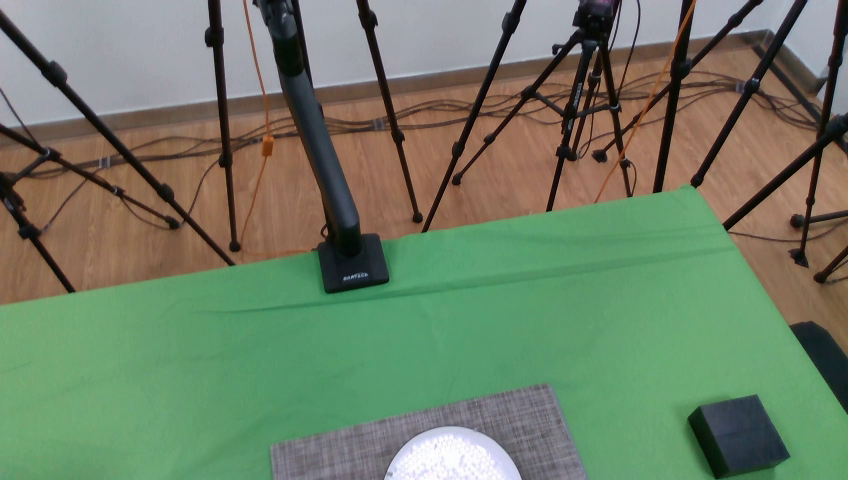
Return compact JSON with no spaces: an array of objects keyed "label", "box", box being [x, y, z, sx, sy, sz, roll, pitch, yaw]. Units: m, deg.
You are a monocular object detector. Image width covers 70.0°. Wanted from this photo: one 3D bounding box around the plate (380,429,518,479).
[{"label":"plate","box":[0.036,0.376,0.865,0.209,0.038,0.207,1,52,-1]}]
